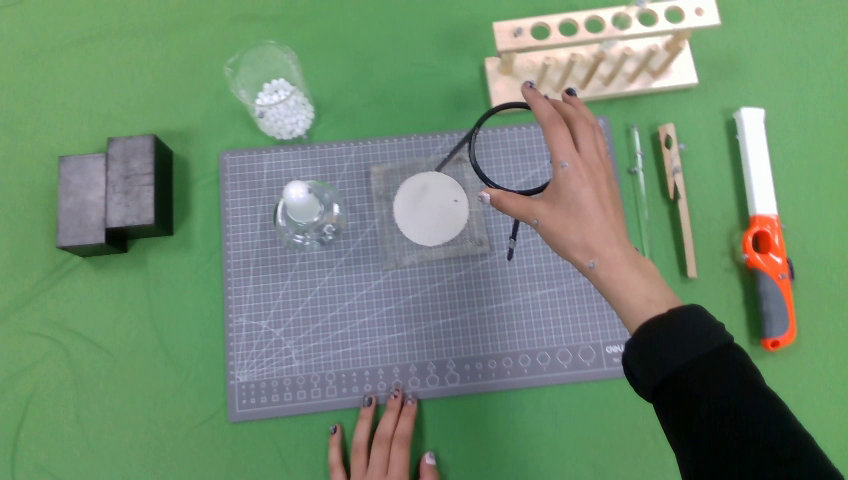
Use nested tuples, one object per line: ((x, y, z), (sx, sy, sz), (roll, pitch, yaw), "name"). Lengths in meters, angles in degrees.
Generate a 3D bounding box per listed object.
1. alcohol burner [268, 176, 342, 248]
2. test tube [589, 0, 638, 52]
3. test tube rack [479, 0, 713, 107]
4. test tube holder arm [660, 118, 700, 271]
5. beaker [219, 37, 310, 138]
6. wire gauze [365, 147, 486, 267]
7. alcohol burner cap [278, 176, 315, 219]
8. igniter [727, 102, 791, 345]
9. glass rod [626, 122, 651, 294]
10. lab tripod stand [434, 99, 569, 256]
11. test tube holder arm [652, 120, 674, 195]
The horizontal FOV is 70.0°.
((-0.125, -0.034, 0.621), (0.078, 0.119, 0.077), (0, 76, 1), "alcohol burner")
((0.207, -0.241, 0.638), (0.017, 0.150, 0.017), (2, 76, -6), "test tube")
((0.190, -0.212, 0.682), (0.242, 0.085, 0.066), (-8, 78, -3), "test tube rack")
((0.287, -0.052, 0.682), (0.013, 0.015, 0.177), (-17, 75, 34), "test tube holder arm")
((-0.168, -0.161, 0.657), (0.084, 0.100, 0.073), (12, 77, 2), "beaker")
((0.000, -0.039, 0.679), (0.121, 0.011, 0.124), (-8, 82, -4), "wire gauze")
((-0.125, -0.044, 0.586), (0.034, 0.048, 0.033), (1, 68, -2), "alcohol burner cap")
((0.373, -0.023, 0.676), (0.057, 0.025, 0.275), (1, 78, -11), "igniter")
((0.243, -0.038, 0.686), (0.008, 0.008, 0.199), (-3, 81, -2), "glass rod")
((0.078, -0.068, 0.594), (0.148, 0.132, 0.147), (0, 77, 1), "lab tripod stand")
((0.276, -0.094, 0.695), (0.010, 0.015, 0.087), (-16, 76, 35), "test tube holder arm")
